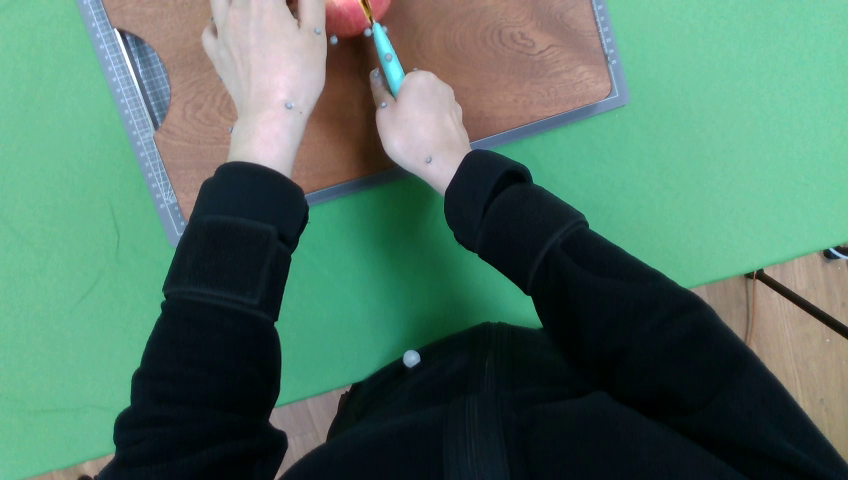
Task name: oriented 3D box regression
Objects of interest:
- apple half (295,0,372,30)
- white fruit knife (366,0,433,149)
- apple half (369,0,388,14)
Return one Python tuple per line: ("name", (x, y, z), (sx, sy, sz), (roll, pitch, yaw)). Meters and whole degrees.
("apple half", (-0.079, -0.204, 0.481), (0.053, 0.074, 0.081), (-22, 101, 7))
("white fruit knife", (-0.038, -0.171, 0.490), (0.016, 0.027, 0.208), (-25, 101, -4))
("apple half", (-0.041, -0.220, 0.480), (0.033, 0.081, 0.081), (-22, 99, 0))
